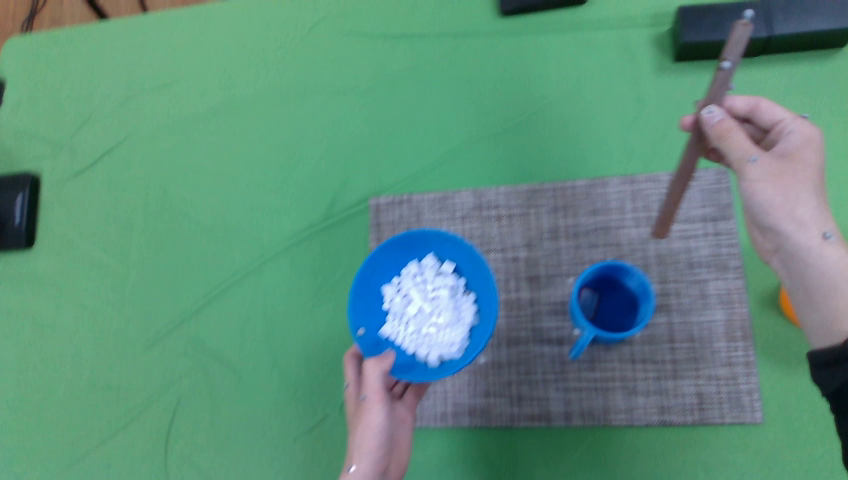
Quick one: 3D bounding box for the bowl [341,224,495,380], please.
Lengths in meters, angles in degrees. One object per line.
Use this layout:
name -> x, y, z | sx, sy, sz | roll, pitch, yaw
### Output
bowl -> 0.003, 0.067, 0.607 | 0.151, 0.077, 0.150 | -4, 74, 16

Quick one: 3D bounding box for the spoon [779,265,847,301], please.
spoon -> 0.463, 0.051, 0.613 | 0.022, 0.192, 0.041 | 25, 80, -30

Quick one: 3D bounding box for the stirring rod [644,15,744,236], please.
stirring rod -> 0.207, -0.082, 0.470 | 0.014, 0.006, 0.177 | 11, 116, -1

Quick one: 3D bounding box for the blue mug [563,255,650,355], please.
blue mug -> 0.191, 0.080, 0.676 | 0.082, 0.106, 0.116 | 35, 87, 16
